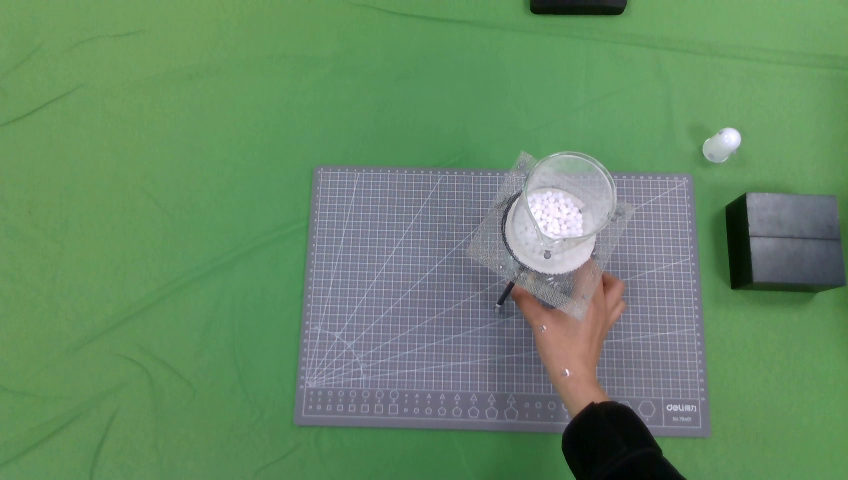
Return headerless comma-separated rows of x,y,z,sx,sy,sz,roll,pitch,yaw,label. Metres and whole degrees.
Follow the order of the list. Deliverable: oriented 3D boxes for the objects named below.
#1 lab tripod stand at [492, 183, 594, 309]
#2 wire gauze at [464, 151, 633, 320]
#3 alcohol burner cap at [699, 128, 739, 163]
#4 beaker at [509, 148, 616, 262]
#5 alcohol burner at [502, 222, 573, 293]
0.120,0.002,0.634,0.148,0.132,0.147,0,75,-1,lab tripod stand
0.117,-0.007,0.569,0.125,0.011,0.121,30,80,4,wire gauze
0.348,-0.113,0.710,0.034,0.048,0.033,0,76,1,alcohol burner cap
0.113,-0.022,0.522,0.074,0.100,0.084,26,78,6,beaker
0.123,0.015,0.640,0.078,0.119,0.077,0,77,0,alcohol burner
